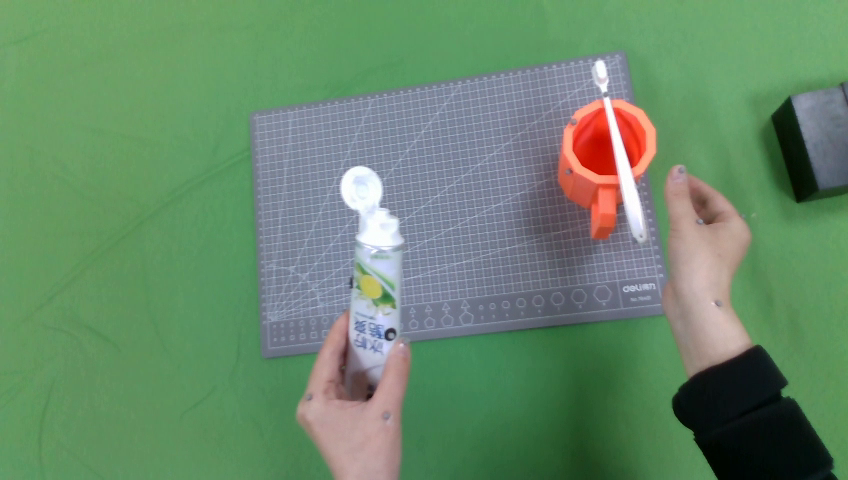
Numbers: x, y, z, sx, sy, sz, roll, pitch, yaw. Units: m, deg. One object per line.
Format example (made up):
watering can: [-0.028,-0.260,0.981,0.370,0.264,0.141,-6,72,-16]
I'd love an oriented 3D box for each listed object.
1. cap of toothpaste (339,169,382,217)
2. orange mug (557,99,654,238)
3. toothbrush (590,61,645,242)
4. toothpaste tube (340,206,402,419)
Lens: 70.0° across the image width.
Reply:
cap of toothpaste: [-0.045,-0.035,0.444,0.037,0.011,0.037,3,86,-34]
orange mug: [0.181,-0.068,0.618,0.083,0.101,0.125,1,75,9]
toothbrush: [0.182,-0.086,0.567,0.014,0.017,0.181,-10,78,3]
toothpaste tube: [-0.039,0.055,0.454,0.054,0.034,0.166,14,109,30]
